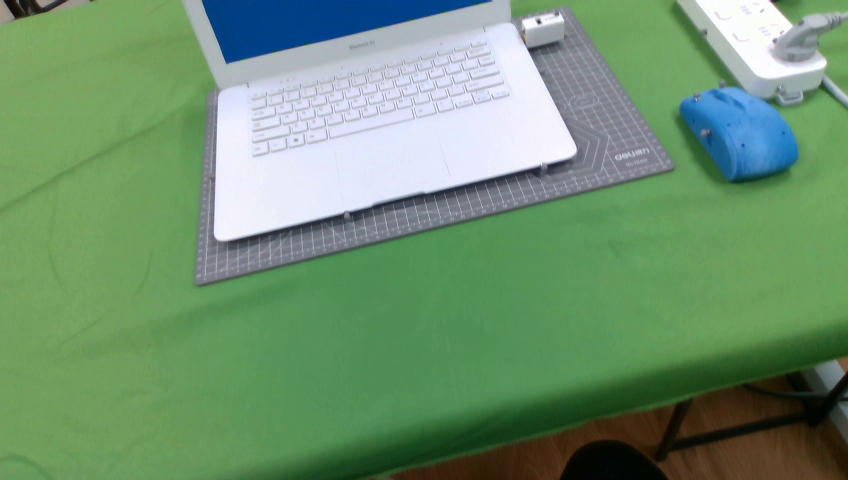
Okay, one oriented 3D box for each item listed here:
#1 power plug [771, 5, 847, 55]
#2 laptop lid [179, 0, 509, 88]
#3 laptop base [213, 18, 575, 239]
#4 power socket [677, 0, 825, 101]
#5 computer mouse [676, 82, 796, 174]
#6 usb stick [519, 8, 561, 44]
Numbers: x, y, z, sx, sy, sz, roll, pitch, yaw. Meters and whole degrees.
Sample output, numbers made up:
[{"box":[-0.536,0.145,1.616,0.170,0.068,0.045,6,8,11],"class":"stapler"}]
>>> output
[{"box":[0.373,-0.193,0.579,0.072,0.053,0.035,-2,54,9],"class":"power plug"},{"box":[-0.092,-0.305,0.640,0.357,0.244,0.013,-15,38,0],"class":"laptop lid"},{"box":[-0.047,-0.126,0.639,0.354,0.023,0.233,-14,54,-1],"class":"laptop base"},{"box":[0.337,-0.231,0.643,0.072,0.033,0.224,-11,51,2],"class":"power socket"},{"box":[0.282,-0.110,0.553,0.063,0.041,0.116,-14,46,2],"class":"computer mouse"},{"box":[0.123,-0.239,0.682,0.059,0.027,0.021,-15,51,3],"class":"usb stick"}]
